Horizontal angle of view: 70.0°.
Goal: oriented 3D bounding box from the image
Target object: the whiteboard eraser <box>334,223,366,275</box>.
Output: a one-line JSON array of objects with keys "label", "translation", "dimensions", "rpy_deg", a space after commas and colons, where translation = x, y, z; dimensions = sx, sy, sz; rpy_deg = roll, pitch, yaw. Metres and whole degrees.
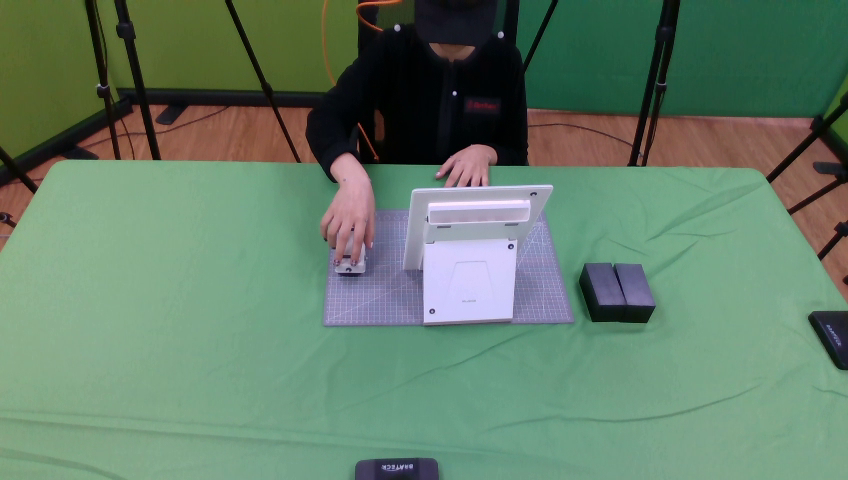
[{"label": "whiteboard eraser", "translation": [-0.140, 0.017, 1.153], "dimensions": [0.055, 0.042, 0.112], "rpy_deg": [-1, 47, -1]}]

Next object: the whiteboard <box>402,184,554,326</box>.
[{"label": "whiteboard", "translation": [0.081, 0.044, 1.005], "dimensions": [0.217, 0.306, 0.143], "rpy_deg": [-1, 66, -6]}]
